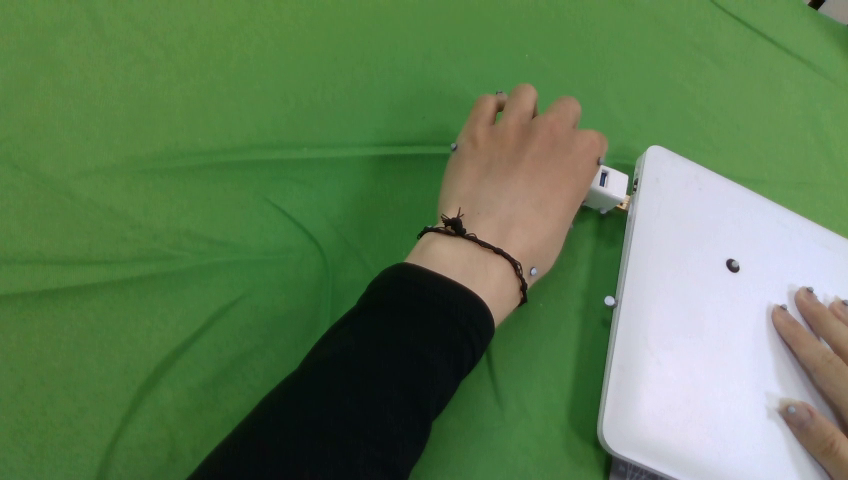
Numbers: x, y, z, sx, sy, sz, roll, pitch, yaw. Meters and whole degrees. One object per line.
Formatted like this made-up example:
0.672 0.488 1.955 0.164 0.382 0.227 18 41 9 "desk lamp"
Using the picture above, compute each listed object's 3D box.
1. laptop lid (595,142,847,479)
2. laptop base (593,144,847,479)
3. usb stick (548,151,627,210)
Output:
0.287 0.089 0.408 0.357 0.013 0.240 26 59 -6 "laptop lid"
0.284 0.092 0.419 0.355 0.023 0.234 24 60 -7 "laptop base"
0.117 -0.038 0.413 0.059 0.027 0.021 21 66 -14 "usb stick"
